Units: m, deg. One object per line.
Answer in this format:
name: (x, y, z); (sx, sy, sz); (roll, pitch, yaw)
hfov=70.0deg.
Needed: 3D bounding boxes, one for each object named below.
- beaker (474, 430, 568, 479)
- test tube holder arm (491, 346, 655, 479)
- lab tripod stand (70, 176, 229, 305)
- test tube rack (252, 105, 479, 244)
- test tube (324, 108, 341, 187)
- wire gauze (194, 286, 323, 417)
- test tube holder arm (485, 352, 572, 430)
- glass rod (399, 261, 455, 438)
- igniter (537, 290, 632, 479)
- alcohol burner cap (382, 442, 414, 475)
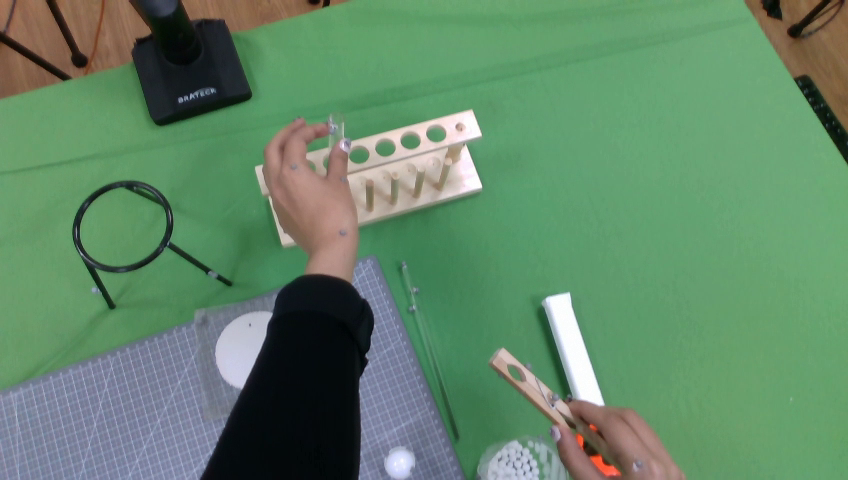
beaker: (0.086, 0.224, 0.591); (0.084, 0.101, 0.073); (10, 71, 0)
test tube holder arm: (0.124, 0.147, 0.492); (0.178, 0.015, 0.013); (40, 77, -2)
lab tripod stand: (-0.283, 0.006, 0.613); (0.148, 0.132, 0.147); (1, 74, -4)
test tube rack: (-0.057, -0.072, 0.679); (0.243, 0.085, 0.066); (-17, 74, -9)
test tube: (-0.096, -0.092, 0.629); (0.017, 0.151, 0.017); (3, 70, -8)
wire gauze: (-0.180, 0.118, 0.649); (0.125, 0.011, 0.120); (-9, 75, -8)
test tube holder arm: (0.086, 0.122, 0.489); (0.088, 0.015, 0.010); (40, 77, -2)
glass rod: (0.003, 0.117, 0.665); (0.008, 0.008, 0.198); (-15, 77, -9)
igniter: (0.176, 0.188, 0.646); (0.057, 0.025, 0.275); (-10, 74, -18)
alcohol burner cap: (-0.026, 0.221, 0.610); (0.034, 0.048, 0.033); (1, 73, -3)
